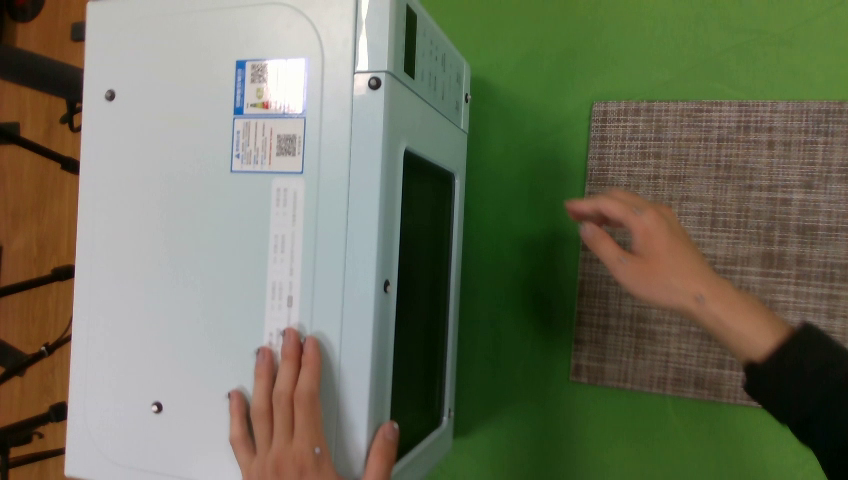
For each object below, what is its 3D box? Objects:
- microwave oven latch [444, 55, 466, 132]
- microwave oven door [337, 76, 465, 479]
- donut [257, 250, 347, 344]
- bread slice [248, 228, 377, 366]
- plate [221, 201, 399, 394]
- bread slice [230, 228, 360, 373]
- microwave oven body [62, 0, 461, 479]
[{"bbox_3d":[0.031,-0.160,0.667,0.030,0.029,0.079,3,90,18],"label":"microwave oven latch"},{"bbox_3d":[-0.014,0.055,0.570,0.039,0.245,0.355,2,89,19],"label":"microwave oven door"},{"bbox_3d":[-0.128,0.060,0.636,0.099,0.048,0.099,-1,87,13],"label":"donut"},{"bbox_3d":[-0.129,0.055,0.657,0.107,0.018,0.133,-46,74,4],"label":"bread slice"},{"bbox_3d":[-0.123,0.062,0.664,0.207,0.039,0.207,-1,88,16],"label":"plate"},{"bbox_3d":[-0.141,0.056,0.613,0.105,0.019,0.131,-41,80,15],"label":"bread slice"},{"bbox_3d":[-0.149,0.007,0.621,0.325,0.261,0.441,2,90,18],"label":"microwave oven body"}]
